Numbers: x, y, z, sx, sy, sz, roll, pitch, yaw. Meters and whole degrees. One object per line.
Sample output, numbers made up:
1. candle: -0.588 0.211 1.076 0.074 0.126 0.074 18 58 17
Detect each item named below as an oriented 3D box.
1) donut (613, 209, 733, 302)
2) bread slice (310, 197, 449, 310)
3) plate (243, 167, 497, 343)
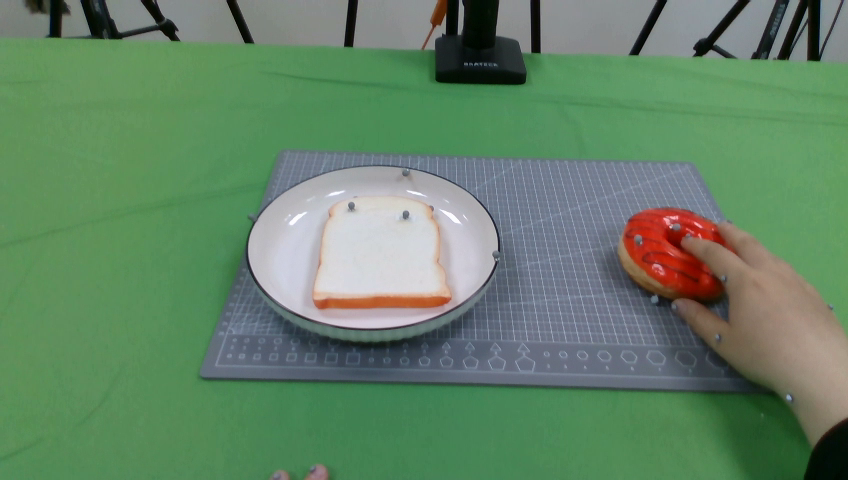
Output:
1. donut: 0.212 0.013 0.518 0.099 0.048 0.098 3 43 -2
2. bread slice: -0.041 0.009 0.516 0.107 0.018 0.133 -2 42 -7
3. plate: -0.043 0.011 0.511 0.209 0.038 0.207 2 41 -1
